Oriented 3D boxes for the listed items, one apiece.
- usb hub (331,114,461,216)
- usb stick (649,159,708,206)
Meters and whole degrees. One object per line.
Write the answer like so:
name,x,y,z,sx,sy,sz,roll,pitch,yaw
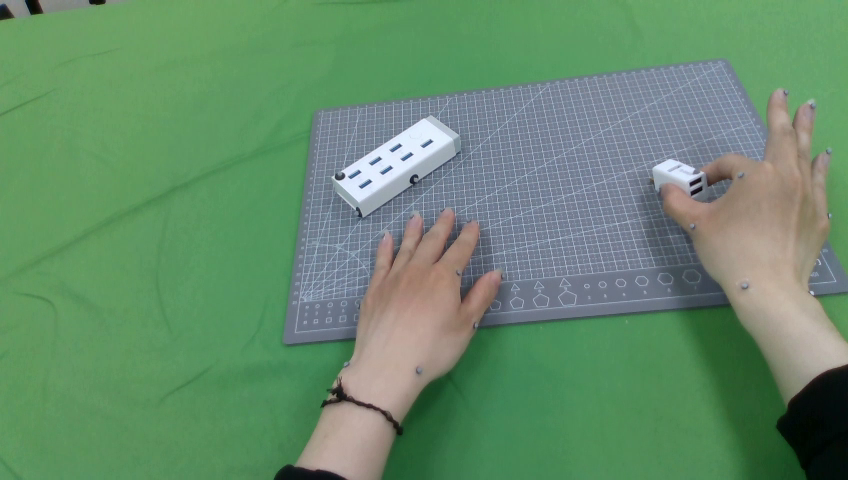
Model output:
usb hub,-0.026,-0.076,0.594,0.125,0.025,0.049,-35,55,-18
usb stick,0.217,-0.052,0.526,0.021,0.027,0.058,-27,25,-7
